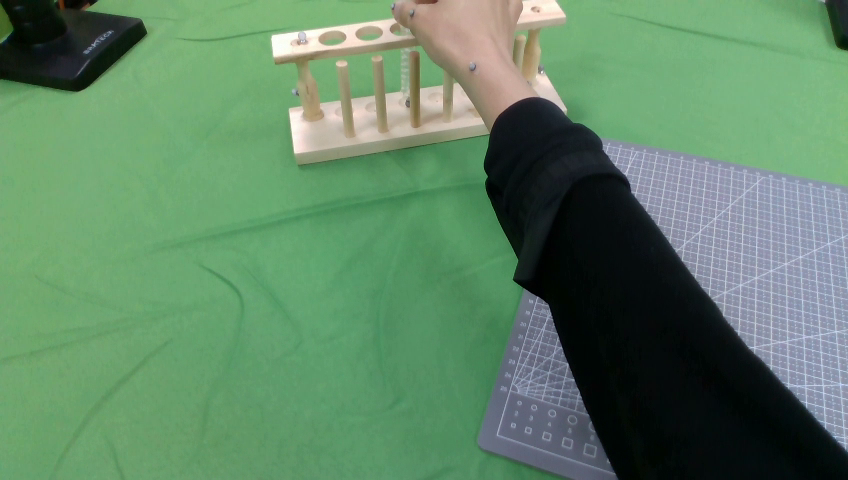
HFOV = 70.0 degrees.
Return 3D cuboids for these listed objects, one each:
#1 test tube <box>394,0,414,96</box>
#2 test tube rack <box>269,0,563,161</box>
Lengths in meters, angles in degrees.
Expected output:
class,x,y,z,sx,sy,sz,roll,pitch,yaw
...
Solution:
class,x,y,z,sx,sy,sz,roll,pitch,yaw
test tube,-0.016,-0.183,0.492,0.017,0.151,0.017,1,48,-1
test tube rack,-0.001,-0.140,0.521,0.243,0.086,0.066,-11,50,-7
